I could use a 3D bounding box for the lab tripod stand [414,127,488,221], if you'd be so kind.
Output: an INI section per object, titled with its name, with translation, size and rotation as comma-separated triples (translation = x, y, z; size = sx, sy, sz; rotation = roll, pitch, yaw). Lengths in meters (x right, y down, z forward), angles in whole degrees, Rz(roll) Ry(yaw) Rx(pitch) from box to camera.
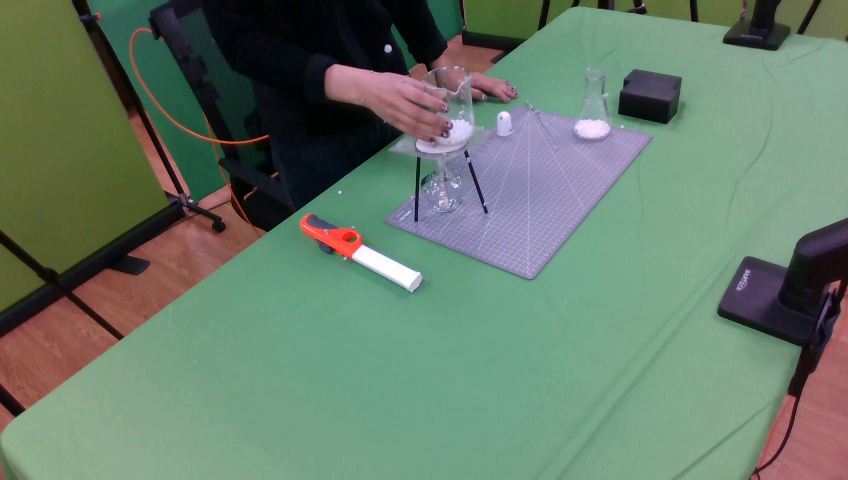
[lab tripod stand]
translation = 0.035, -0.114, 1.021
size = 0.148, 0.132, 0.147
rotation = -7, 39, 6

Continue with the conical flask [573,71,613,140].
[conical flask]
translation = 0.321, -0.256, 1.142
size = 0.075, 0.122, 0.075
rotation = -5, 40, 5

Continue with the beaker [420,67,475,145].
[beaker]
translation = 0.040, -0.204, 0.935
size = 0.074, 0.101, 0.083
rotation = -18, 40, -8

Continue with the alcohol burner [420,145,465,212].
[alcohol burner]
translation = 0.030, -0.108, 1.030
size = 0.078, 0.119, 0.077
rotation = -5, 38, 4

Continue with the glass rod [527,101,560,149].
[glass rod]
translation = 0.240, -0.237, 1.223
size = 0.008, 0.008, 0.198
rotation = -12, 40, -2

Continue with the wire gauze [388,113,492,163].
[wire gauze]
translation = 0.027, -0.164, 0.977
size = 0.120, 0.011, 0.125
rotation = 24, 49, 35

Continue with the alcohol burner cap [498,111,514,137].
[alcohol burner cap]
translation = 0.163, -0.235, 1.211
size = 0.034, 0.048, 0.033
rotation = -6, 40, 6

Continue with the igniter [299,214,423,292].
[igniter]
translation = -0.112, 0.016, 0.983
size = 0.274, 0.025, 0.057
rotation = 25, 62, 34
